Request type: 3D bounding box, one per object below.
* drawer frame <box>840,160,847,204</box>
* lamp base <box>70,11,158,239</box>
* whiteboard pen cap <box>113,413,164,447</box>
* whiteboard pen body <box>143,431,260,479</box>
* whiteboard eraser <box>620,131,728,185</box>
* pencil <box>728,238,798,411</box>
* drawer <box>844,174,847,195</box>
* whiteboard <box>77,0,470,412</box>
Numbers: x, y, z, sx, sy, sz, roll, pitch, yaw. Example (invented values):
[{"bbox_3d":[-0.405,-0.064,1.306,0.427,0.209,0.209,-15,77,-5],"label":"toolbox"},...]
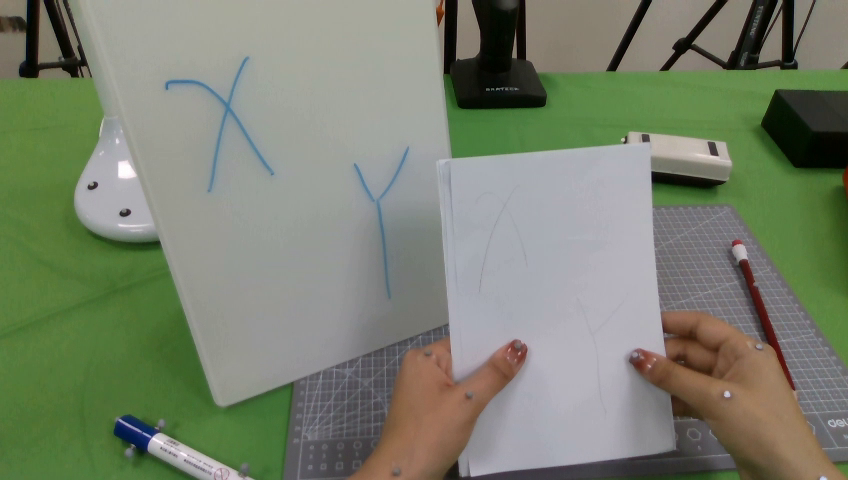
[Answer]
[{"bbox_3d":[0.534,-0.010,0.579,0.201,0.083,0.212,13,42,13],"label":"drawer frame"},{"bbox_3d":[-0.287,-0.118,0.588,0.178,0.182,0.160,26,47,28],"label":"lamp base"},{"bbox_3d":[-0.202,0.135,0.429,0.033,0.018,0.018,17,44,19],"label":"whiteboard pen cap"},{"bbox_3d":[-0.149,0.153,0.411,0.140,0.017,0.017,17,44,17],"label":"whiteboard pen body"},{"bbox_3d":[0.283,-0.093,0.692,0.112,0.042,0.055,9,43,7],"label":"whiteboard eraser"},{"bbox_3d":[0.297,0.066,0.533,0.012,0.012,0.192,5,43,4],"label":"pencil"},{"bbox_3d":[0.533,-0.006,0.577,0.194,0.074,0.210,14,42,14],"label":"drawer"},{"bbox_3d":[-0.104,-0.062,0.483,0.218,0.307,0.142,-17,26,-19],"label":"whiteboard"}]
